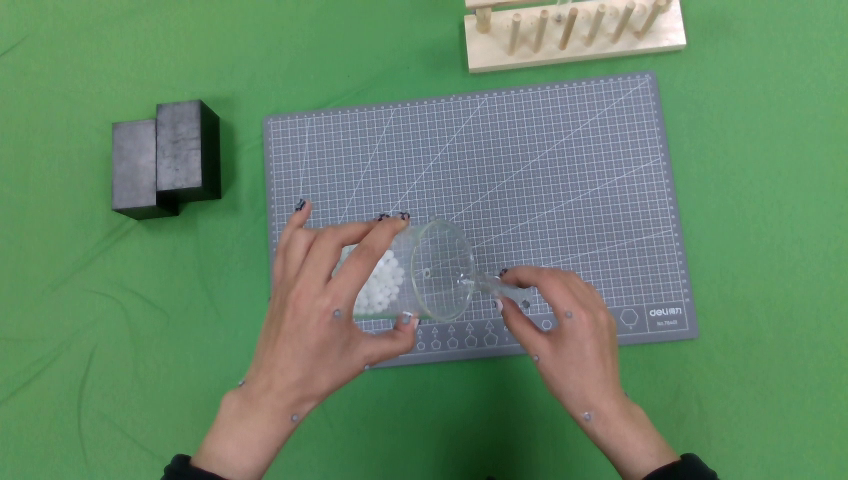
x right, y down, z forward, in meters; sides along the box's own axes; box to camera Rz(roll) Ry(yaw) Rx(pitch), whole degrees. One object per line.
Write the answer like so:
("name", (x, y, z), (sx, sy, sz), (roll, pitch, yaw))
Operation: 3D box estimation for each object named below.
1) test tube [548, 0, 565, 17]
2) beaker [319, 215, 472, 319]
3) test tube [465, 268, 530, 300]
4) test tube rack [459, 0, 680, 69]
("test tube", (0.145, -0.274, 0.613), (0.017, 0.151, 0.017), (0, 77, 2))
("beaker", (-0.023, 0.024, 0.466), (0.100, 0.085, 0.073), (-5, 73, 39))
("test tube", (0.069, 0.041, 0.535), (0.017, 0.151, 0.017), (-4, 80, 24))
("test tube rack", (0.161, -0.249, 0.658), (0.242, 0.085, 0.066), (-6, 80, 3))
